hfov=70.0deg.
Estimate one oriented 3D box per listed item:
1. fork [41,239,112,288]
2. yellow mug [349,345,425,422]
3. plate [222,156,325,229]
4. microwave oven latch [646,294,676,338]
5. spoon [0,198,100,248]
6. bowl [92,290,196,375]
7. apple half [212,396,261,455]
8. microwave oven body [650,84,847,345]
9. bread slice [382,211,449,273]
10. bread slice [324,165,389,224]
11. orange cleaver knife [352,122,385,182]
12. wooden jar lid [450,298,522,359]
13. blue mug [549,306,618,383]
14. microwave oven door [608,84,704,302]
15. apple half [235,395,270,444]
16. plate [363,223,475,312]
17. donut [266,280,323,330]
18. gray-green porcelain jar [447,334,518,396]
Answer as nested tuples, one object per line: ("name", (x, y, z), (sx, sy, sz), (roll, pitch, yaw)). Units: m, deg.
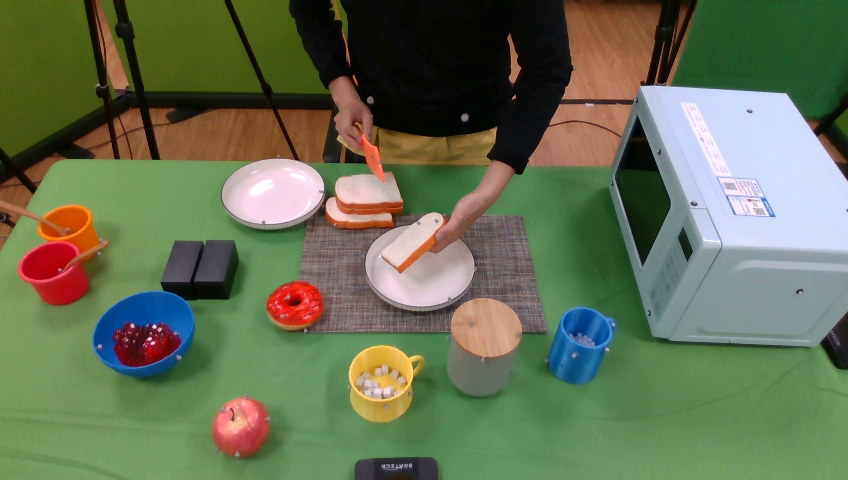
("fork", (-0.591, 0.040, 1.028), (0.207, 0.019, 0.028), (-27, 37, 29))
("yellow mug", (-0.054, 0.217, 0.954), (0.131, 0.064, 0.099), (-23, 52, -25))
("plate", (-0.308, -0.095, 1.251), (0.209, 0.038, 0.208), (3, 46, -2))
("microwave oven latch", (0.412, 0.133, 1.060), (0.030, 0.029, 0.078), (3, 46, 0))
("spoon", (-0.684, -0.035, 1.092), (0.021, 0.195, 0.041), (-34, 41, 26))
("bowl", (-0.436, 0.161, 0.971), (0.151, 0.077, 0.150), (2, 46, -2))
("apple half", (-0.276, 0.276, 0.877), (0.053, 0.075, 0.080), (-29, 58, -21))
("microwave oven body", (0.569, -0.054, 1.116), (0.326, 0.261, 0.439), (2, 46, -1))
("bread slice", (-0.014, -0.003, 1.091), (0.131, 0.019, 0.104), (-44, 24, -8))
("bread slice", (-0.140, -0.091, 1.214), (0.134, 0.018, 0.106), (-24, 50, 12))
("orange cleaver knife", (-0.109, -0.178, 1.198), (0.012, 0.077, 0.210), (-17, 32, -12))
("wooden jar lid", (0.093, 0.135, 0.914), (0.108, 0.021, 0.107), (3, 49, -3))
("blue mug", (0.269, 0.167, 0.997), (0.116, 0.106, 0.082), (-19, 51, -21))
("microwave oven door", (0.424, -0.096, 1.138), (0.039, 0.245, 0.353), (2, 47, -1))
("apple half", (-0.245, 0.260, 0.893), (0.033, 0.082, 0.081), (-29, 55, -22))
("plate", (-0.009, 0.054, 1.126), (0.208, 0.039, 0.206), (2, 46, -2))
("donut", (-0.223, 0.112, 1.051), (0.099, 0.048, 0.098), (2, 46, -2))
("gray-green porcelain jar", (0.091, 0.178, 0.960), (0.106, 0.127, 0.105), (2, 46, -2))
